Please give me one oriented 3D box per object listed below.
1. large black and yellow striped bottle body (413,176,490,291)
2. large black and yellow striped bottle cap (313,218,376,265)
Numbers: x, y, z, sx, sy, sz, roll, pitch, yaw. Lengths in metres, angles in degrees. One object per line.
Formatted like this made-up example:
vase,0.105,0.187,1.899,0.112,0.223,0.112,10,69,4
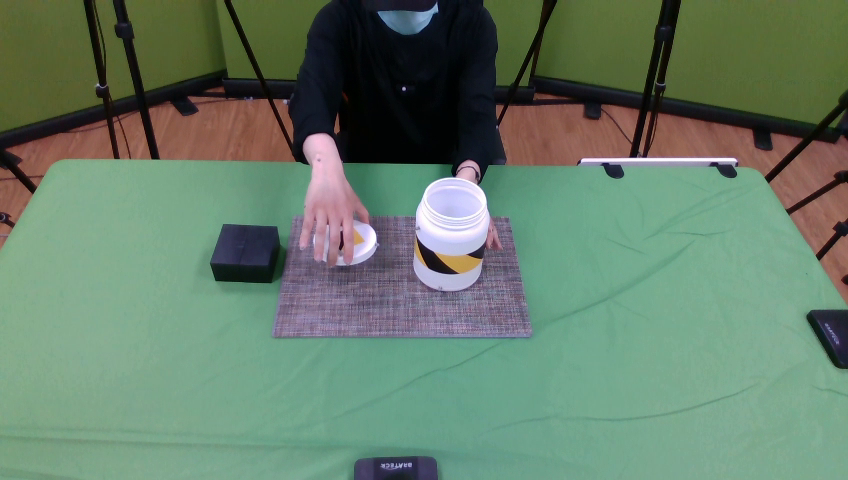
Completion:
large black and yellow striped bottle body,0.049,-0.011,1.091,0.131,0.185,0.130,2,46,-2
large black and yellow striped bottle cap,-0.144,0.002,1.103,0.115,0.019,0.114,2,41,-2
